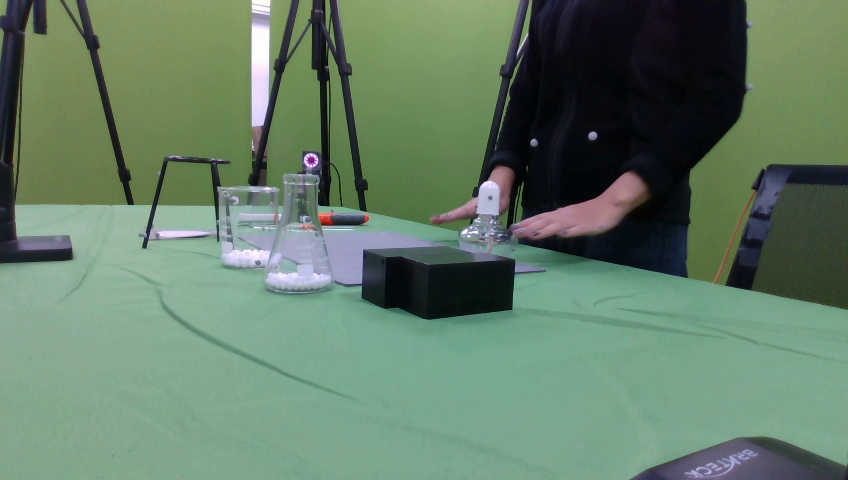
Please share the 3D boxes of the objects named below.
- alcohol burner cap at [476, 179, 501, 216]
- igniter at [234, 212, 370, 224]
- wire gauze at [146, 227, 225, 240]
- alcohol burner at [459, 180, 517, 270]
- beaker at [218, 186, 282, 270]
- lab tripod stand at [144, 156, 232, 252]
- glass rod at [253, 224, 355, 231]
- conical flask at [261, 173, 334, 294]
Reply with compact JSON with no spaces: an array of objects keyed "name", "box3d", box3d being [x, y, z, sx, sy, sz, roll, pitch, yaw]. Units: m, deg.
[{"name":"alcohol burner cap","box3d":[0.086,-0.056,0.801,0.034,0.048,0.034,4,2,0]},{"name":"igniter","box3d":[-0.247,-0.046,1.253,0.278,0.025,0.057,-1,-3,-27]},{"name":"wire gauze","box3d":[-0.400,-0.012,1.019,0.122,0.011,0.124,-1,6,-26]},{"name":"alcohol burner","box3d":[0.086,-0.021,0.806,0.078,0.119,0.078,3,9,0]},{"name":"beaker","box3d":[-0.222,-0.017,0.758,0.084,0.100,0.074,4,7,19]},{"name":"lab tripod stand","box3d":[-0.325,-0.054,0.881,0.148,0.131,0.148,4,7,0]},{"name":"glass rod","box3d":[-0.226,-0.023,1.162,0.201,0.008,0.008,1,6,-29]},{"name":"conical flask","box3d":[-0.131,-0.009,0.632,0.075,0.122,0.075,2,8,0]}]
